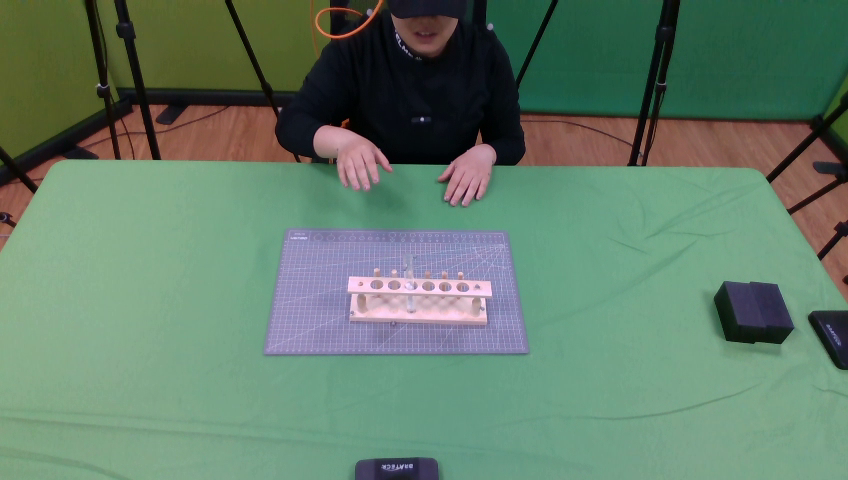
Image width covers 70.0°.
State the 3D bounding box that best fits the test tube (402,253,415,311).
[{"bbox_3d":[-0.025,0.073,1.010,0.017,0.151,0.017,-1,49,1],"label":"test tube"}]

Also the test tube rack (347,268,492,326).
[{"bbox_3d":[-0.009,0.095,1.059,0.242,0.085,0.066,2,46,-2],"label":"test tube rack"}]
